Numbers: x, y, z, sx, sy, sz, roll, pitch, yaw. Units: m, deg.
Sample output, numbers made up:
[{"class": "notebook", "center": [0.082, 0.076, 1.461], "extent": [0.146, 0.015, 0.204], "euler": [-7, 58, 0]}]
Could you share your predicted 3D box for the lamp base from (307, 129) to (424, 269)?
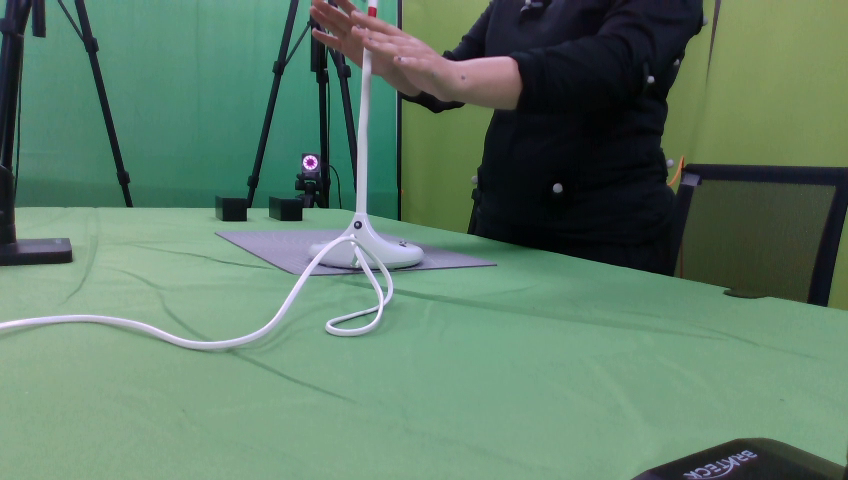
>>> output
[{"class": "lamp base", "center": [-0.076, -0.057, 0.811], "extent": [0.161, 0.180, 0.179], "euler": [2, 10, -4]}]
